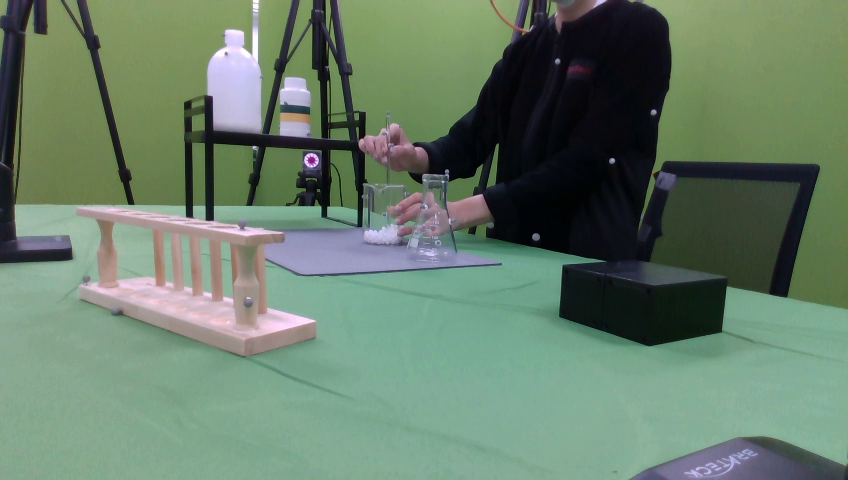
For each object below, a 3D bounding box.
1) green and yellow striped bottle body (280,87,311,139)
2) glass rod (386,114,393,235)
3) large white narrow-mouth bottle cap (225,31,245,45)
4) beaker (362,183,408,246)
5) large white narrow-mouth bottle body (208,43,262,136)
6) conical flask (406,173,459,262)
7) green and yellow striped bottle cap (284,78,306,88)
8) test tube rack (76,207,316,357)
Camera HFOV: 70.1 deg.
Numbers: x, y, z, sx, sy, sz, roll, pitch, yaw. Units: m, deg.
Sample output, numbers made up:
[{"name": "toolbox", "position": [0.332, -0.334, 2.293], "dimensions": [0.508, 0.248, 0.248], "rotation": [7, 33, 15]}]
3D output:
[{"name": "green and yellow striped bottle body", "position": [-0.269, -0.274, 1.266], "dimensions": [0.063, 0.119, 0.063], "rotation": [3, 7, 0]}, {"name": "glass rod", "position": [-0.057, -0.107, 0.998], "dimensions": [0.008, 0.199, 0.008], "rotation": [-1, 9, 0]}, {"name": "large white narrow-mouth bottle cap", "position": [-0.365, -0.388, 1.166], "dimensions": [0.038, 0.024, 0.037], "rotation": [2, 9, 0]}, {"name": "beaker", "position": [-0.066, -0.043, 0.995], "dimensions": [0.074, 0.100, 0.084], "rotation": [3, 8, 6]}, {"name": "large white narrow-mouth bottle body", "position": [-0.368, -0.304, 1.181], "dimensions": [0.102, 0.194, 0.101], "rotation": [2, 9, 0]}, {"name": "conical flask", "position": [0.014, -0.033, 0.851], "dimensions": [0.075, 0.122, 0.075], "rotation": [2, 7, 0]}, {"name": "green and yellow striped bottle cap", "position": [-0.268, -0.325, 1.259], "dimensions": [0.045, 0.020, 0.045], "rotation": [5, 7, 0]}, {"name": "test tube rack", "position": [-0.196, 0.023, 0.500], "dimensions": [0.241, 0.085, 0.067], "rotation": [8, 9, 36]}]
